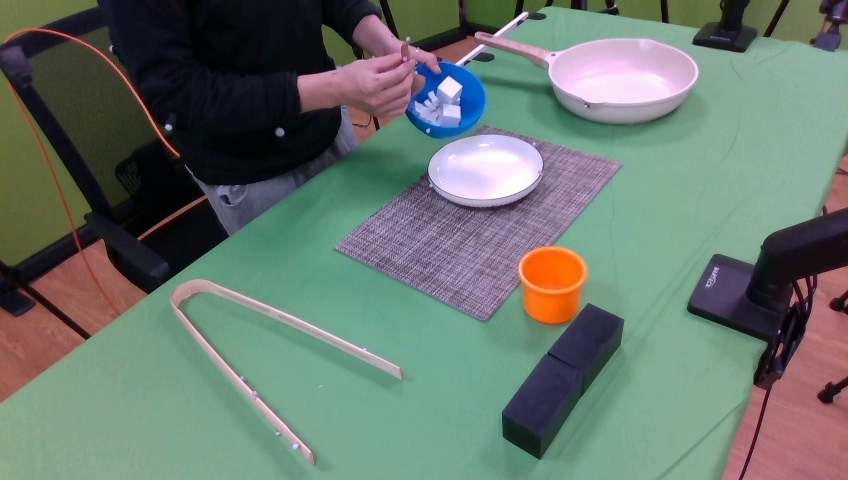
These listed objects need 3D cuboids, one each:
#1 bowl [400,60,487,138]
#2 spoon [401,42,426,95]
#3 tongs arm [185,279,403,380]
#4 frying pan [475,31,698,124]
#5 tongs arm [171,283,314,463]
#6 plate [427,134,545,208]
[{"bbox_3d":[0.029,-0.234,1.066,0.152,0.077,0.150,4,62,-7],"label":"bowl"},{"bbox_3d":[-0.020,-0.267,0.944,0.021,0.194,0.041,44,91,10],"label":"spoon"},{"bbox_3d":[-0.194,0.119,0.853,0.385,0.028,0.028,18,49,26],"label":"tongs arm"},{"bbox_3d":[0.320,-0.371,1.290,0.485,0.103,0.307,28,50,23],"label":"frying pan"},{"bbox_3d":[-0.246,0.161,0.806,0.381,0.026,0.051,29,51,36],"label":"tongs arm"},{"bbox_3d":[0.110,-0.119,1.073,0.207,0.039,0.206,-4,40,4],"label":"plate"}]
